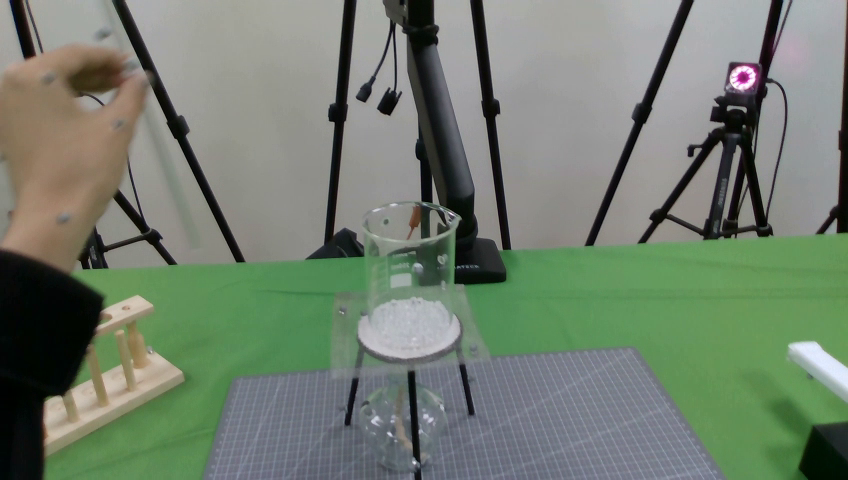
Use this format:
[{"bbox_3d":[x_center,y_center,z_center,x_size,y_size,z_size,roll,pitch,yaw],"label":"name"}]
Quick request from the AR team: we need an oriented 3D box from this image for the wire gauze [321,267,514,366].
[{"bbox_3d":[-0.009,0.059,0.489,0.125,0.011,0.120,-9,25,-26],"label":"wire gauze"}]

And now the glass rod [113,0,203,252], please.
[{"bbox_3d":[-0.174,-0.071,0.399,0.008,0.201,0.008,-1,37,1],"label":"glass rod"}]

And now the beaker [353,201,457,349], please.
[{"bbox_3d":[-0.012,0.027,0.479,0.084,0.101,0.073,-14,31,-25],"label":"beaker"}]

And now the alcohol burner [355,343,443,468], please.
[{"bbox_3d":[-0.022,0.140,0.532,0.078,0.120,0.077,1,26,0],"label":"alcohol burner"}]

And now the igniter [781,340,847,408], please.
[{"bbox_3d":[0.388,0.159,0.482,0.057,0.025,0.274,-4,23,-6],"label":"igniter"}]

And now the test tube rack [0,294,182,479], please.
[{"bbox_3d":[-0.363,0.145,0.569,0.066,0.086,0.242,20,33,35],"label":"test tube rack"}]

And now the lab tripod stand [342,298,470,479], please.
[{"bbox_3d":[-0.013,0.131,0.529,0.148,0.132,0.147,1,27,0],"label":"lab tripod stand"}]
